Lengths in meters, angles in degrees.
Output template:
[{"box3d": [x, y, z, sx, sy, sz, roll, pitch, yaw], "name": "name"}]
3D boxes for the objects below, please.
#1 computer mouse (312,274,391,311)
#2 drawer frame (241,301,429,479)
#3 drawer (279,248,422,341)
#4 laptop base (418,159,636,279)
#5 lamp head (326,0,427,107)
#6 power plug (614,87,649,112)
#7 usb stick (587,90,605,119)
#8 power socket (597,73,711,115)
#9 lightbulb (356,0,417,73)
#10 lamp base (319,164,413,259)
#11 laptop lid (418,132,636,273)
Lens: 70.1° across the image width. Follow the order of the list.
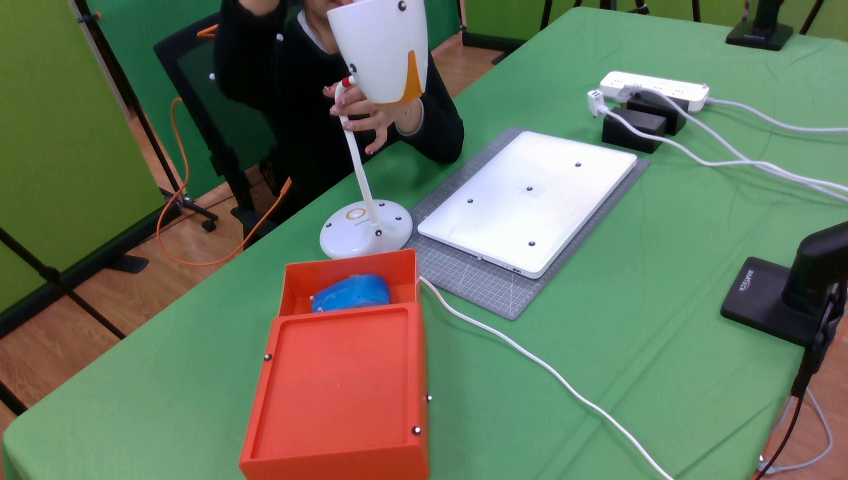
[{"box3d": [-0.107, 0.086, 0.885, 0.117, 0.041, 0.062, -14, 41, 0], "name": "computer mouse"}, {"box3d": [-0.096, 0.183, 0.741, 0.202, 0.083, 0.212, -6, 40, 3], "name": "drawer frame"}, {"box3d": [-0.100, 0.114, 0.828, 0.194, 0.073, 0.210, -7, 40, 2], "name": "drawer"}, {"box3d": [0.185, -0.074, 1.042, 0.233, 0.023, 0.355, 19, 48, 35], "name": "laptop base"}, {"box3d": [-0.047, -0.218, 0.708, 0.112, 0.123, 0.112, -9, 24, 4], "name": "lamp head"}, {"box3d": [0.406, -0.275, 1.193, 0.035, 0.053, 0.072, -15, 23, -16], "name": "power plug"}, {"box3d": [0.334, -0.258, 1.170, 0.021, 0.059, 0.027, -28, 43, -6], "name": "usb stick"}, {"box3d": [0.469, -0.304, 1.249, 0.225, 0.033, 0.072, 20, 49, 30], "name": "power socket"}, {"box3d": [-0.038, -0.245, 0.700, 0.059, 0.108, 0.059, -23, 20, 9], "name": "lightbulb"}, {"box3d": [-0.102, -0.068, 0.962, 0.161, 0.181, 0.177, -30, 46, -21], "name": "lamp base"}, {"box3d": [0.181, -0.084, 1.036, 0.239, 0.013, 0.358, 22, 49, 35], "name": "laptop lid"}]
